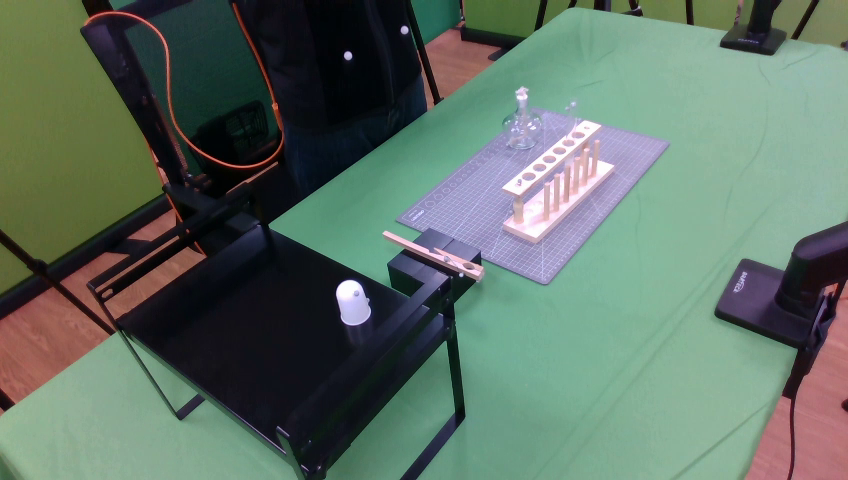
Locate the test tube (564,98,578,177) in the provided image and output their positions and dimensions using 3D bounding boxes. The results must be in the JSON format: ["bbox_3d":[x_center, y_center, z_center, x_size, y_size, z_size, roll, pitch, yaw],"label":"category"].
[{"bbox_3d":[0.244,-0.166,1.004,0.017,0.151,0.017,-5,42,4],"label":"test tube"}]

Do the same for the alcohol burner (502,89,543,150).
[{"bbox_3d":[0.186,-0.233,1.147,0.078,0.119,0.077,-5,42,5],"label":"alcohol burner"}]

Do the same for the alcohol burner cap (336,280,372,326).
[{"bbox_3d":[-0.073,0.061,0.619,0.034,0.048,0.033,-4,42,4],"label":"alcohol burner cap"}]

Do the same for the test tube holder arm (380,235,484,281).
[{"bbox_3d":[0.008,0.024,0.877,0.177,0.015,0.013,18,51,29],"label":"test tube holder arm"}]

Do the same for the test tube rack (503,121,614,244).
[{"bbox_3d":[0.230,-0.101,1.006,0.066,0.085,0.243,26,50,35],"label":"test tube rack"}]

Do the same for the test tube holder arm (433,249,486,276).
[{"bbox_3d":[0.048,0.033,0.858,0.087,0.015,0.010,19,51,30],"label":"test tube holder arm"}]
